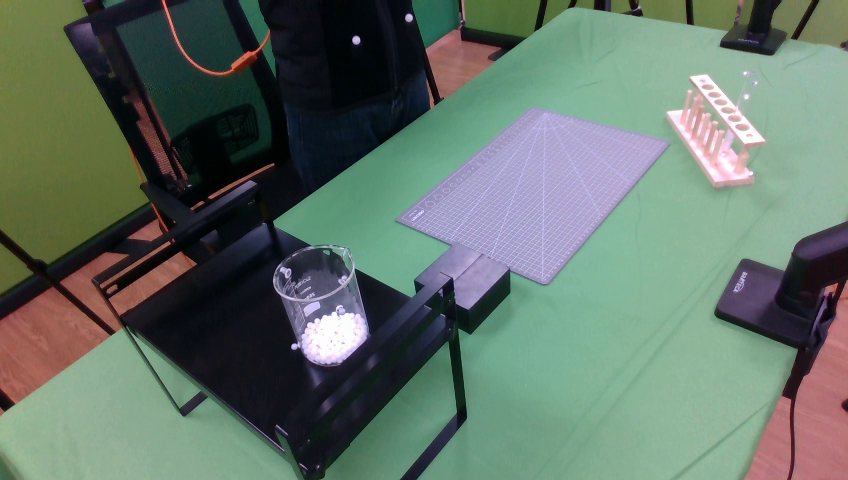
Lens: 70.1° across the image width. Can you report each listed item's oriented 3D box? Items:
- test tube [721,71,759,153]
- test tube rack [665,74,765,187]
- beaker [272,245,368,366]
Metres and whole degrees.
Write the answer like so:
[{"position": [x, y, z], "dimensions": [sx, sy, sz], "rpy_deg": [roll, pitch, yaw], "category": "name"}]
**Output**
[{"position": [0.529, -0.212, 1.015], "dimensions": [0.017, 0.151, 0.017], "rpy_deg": [0, 40, 0], "category": "test tube"}, {"position": [0.512, -0.202, 1.082], "dimensions": [0.067, 0.085, 0.241], "rpy_deg": [-6, 41, 2], "category": "test tube rack"}, {"position": [-0.093, 0.064, 0.578], "dimensions": [0.073, 0.101, 0.084], "rpy_deg": [21, 48, 29], "category": "beaker"}]
